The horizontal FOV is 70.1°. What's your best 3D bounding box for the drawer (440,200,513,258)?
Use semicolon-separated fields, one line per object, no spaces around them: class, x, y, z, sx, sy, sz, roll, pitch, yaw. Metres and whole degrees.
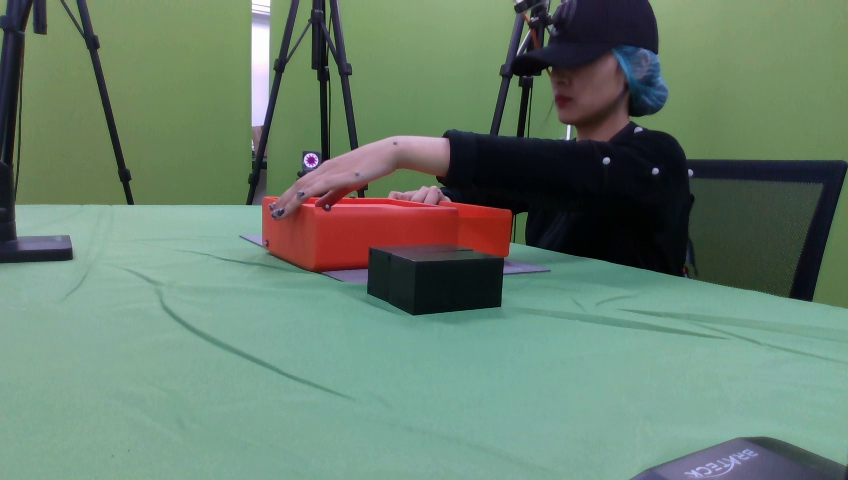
drawer;-0.009;-0.019;0.896;0.213;0.073;0.193;-3;9;-32

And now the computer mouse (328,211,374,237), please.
computer mouse;-0.131;-0.030;1.113;0.063;0.041;0.117;5;12;7

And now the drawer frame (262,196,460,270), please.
drawer frame;-0.091;-0.018;0.845;0.215;0.082;0.200;-3;10;-33
